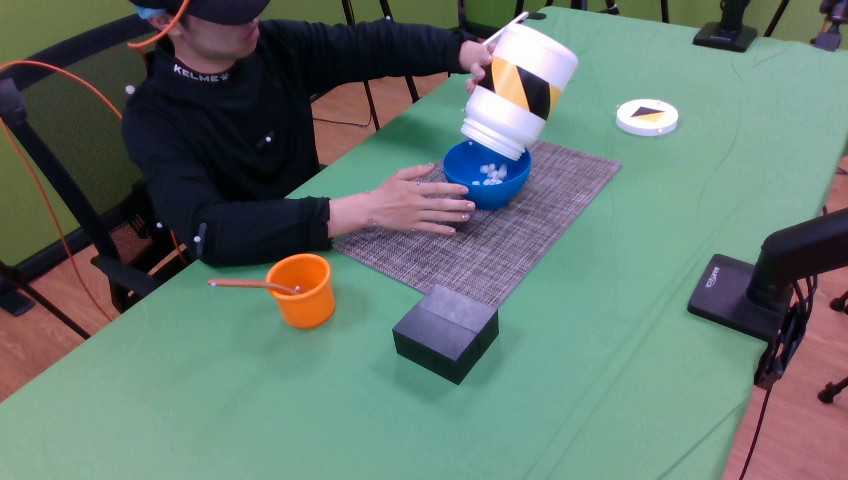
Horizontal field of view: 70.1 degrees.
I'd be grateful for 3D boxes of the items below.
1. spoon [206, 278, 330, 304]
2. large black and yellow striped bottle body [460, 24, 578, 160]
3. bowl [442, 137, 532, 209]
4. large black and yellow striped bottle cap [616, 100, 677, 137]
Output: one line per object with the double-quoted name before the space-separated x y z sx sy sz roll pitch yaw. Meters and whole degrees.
"spoon" -0.207 0.066 0.824 0.041 0.195 0.021 32 99 41
"large black and yellow striped bottle body" 0.147 -0.234 0.970 0.131 0.184 0.130 26 13 -6
"bowl" 0.108 -0.106 1.026 0.151 0.077 0.150 -4 41 4
"large black and yellow striped bottle cap" 0.438 -0.241 1.190 0.115 0.019 0.114 -4 42 4
